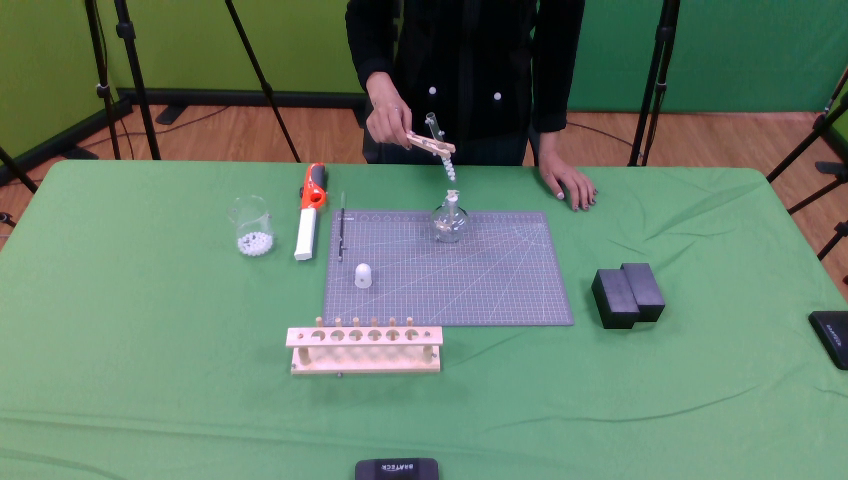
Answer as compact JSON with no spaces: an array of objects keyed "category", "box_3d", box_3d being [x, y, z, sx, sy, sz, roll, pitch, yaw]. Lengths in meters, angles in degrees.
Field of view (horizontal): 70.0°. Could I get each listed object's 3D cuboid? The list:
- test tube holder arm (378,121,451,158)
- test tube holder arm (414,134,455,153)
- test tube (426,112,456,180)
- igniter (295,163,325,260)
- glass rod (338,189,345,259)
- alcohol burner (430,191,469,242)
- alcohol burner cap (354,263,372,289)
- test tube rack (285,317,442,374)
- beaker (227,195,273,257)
[{"category":"test tube holder arm","box_3d":[-0.021,-0.185,1.103,0.177,0.015,0.013,27,62,34]},{"category":"test tube holder arm","box_3d":[0.017,-0.173,1.081,0.087,0.015,0.010,19,58,30]},{"category":"test tube","box_3d":[0.032,-0.162,1.067,0.017,0.151,0.017,-12,45,13]},{"category":"igniter","box_3d":[-0.233,-0.068,1.243,0.057,0.025,0.274,-7,46,4]},{"category":"glass rod","box_3d":[-0.166,-0.036,1.227,0.008,0.008,0.198,-1,46,-4]},{"category":"alcohol burner","box_3d":[0.052,-0.053,1.185,0.078,0.119,0.077,2,48,-2]},{"category":"alcohol burner cap","box_3d":[-0.113,0.063,1.111,0.034,0.048,0.033,2,46,-2]},{"category":"test tube rack","box_3d":[-0.095,0.166,0.988,0.242,0.085,0.066,0,46,-4]},{"category":"beaker","box_3d":[-0.326,-0.022,1.142,0.074,0.101,0.083,10,47,6]}]
